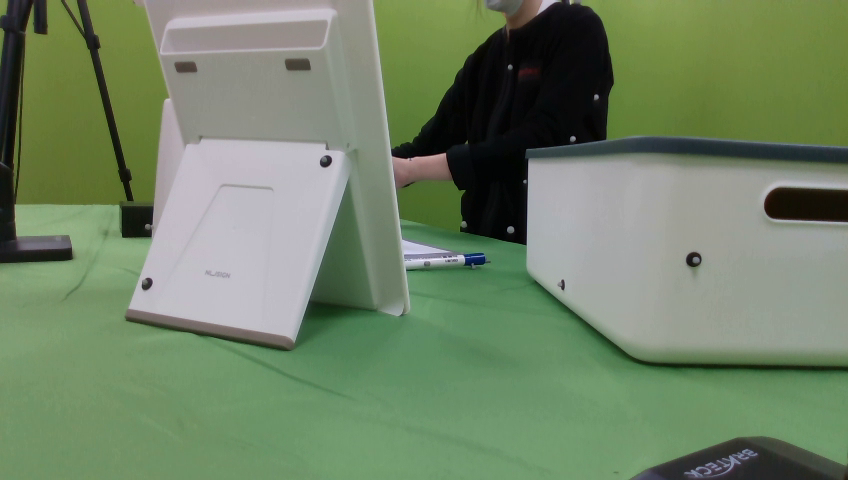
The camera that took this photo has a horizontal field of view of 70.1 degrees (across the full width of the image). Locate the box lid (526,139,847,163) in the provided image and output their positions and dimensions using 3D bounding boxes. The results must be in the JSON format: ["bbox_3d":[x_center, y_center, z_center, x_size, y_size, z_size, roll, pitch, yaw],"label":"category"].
[{"bbox_3d":[0.261,-0.078,0.580,0.264,0.015,0.371,2,7,-4],"label":"box lid"}]

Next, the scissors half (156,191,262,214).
[{"bbox_3d":[-0.371,-0.069,1.051,0.176,0.040,0.013,2,25,-24],"label":"scissors half"}]

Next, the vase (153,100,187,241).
[{"bbox_3d":[-0.278,-0.066,0.736,0.098,0.200,0.098,2,9,0],"label":"vase"}]

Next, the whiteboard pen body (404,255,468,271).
[{"bbox_3d":[0.013,0.030,0.792,0.141,0.017,0.017,-3,9,-24],"label":"whiteboard pen body"}]

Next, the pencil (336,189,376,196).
[{"bbox_3d":[-0.121,-0.084,1.039,0.012,0.012,0.193,-1,5,-26],"label":"pencil"}]

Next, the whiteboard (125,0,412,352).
[{"bbox_3d":[-0.151,-0.049,0.472,0.216,0.305,0.144,6,27,24],"label":"whiteboard"}]

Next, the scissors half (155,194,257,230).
[{"bbox_3d":[-0.378,-0.051,1.058,0.176,0.040,0.012,20,22,-31],"label":"scissors half"}]

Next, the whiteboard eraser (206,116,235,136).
[{"bbox_3d":[-0.450,-0.252,1.335,0.056,0.042,0.112,1,7,-22],"label":"whiteboard eraser"}]

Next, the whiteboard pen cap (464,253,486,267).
[{"bbox_3d":[0.066,0.027,0.818,0.033,0.018,0.018,-6,10,-24],"label":"whiteboard pen cap"}]

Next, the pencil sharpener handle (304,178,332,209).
[{"bbox_3d":[-0.210,-0.090,1.177,0.036,0.068,0.030,36,-12,-31],"label":"pencil sharpener handle"}]

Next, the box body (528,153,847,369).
[{"bbox_3d":[0.258,-0.005,0.591,0.254,0.160,0.363,2,7,-4],"label":"box body"}]

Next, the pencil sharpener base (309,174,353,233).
[{"bbox_3d":[-0.176,-0.070,1.141,0.062,0.107,0.076,-3,9,-33],"label":"pencil sharpener base"}]

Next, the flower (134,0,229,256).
[{"bbox_3d":[-0.282,-0.146,0.713,0.038,0.362,0.044,-23,23,-31],"label":"flower"}]
